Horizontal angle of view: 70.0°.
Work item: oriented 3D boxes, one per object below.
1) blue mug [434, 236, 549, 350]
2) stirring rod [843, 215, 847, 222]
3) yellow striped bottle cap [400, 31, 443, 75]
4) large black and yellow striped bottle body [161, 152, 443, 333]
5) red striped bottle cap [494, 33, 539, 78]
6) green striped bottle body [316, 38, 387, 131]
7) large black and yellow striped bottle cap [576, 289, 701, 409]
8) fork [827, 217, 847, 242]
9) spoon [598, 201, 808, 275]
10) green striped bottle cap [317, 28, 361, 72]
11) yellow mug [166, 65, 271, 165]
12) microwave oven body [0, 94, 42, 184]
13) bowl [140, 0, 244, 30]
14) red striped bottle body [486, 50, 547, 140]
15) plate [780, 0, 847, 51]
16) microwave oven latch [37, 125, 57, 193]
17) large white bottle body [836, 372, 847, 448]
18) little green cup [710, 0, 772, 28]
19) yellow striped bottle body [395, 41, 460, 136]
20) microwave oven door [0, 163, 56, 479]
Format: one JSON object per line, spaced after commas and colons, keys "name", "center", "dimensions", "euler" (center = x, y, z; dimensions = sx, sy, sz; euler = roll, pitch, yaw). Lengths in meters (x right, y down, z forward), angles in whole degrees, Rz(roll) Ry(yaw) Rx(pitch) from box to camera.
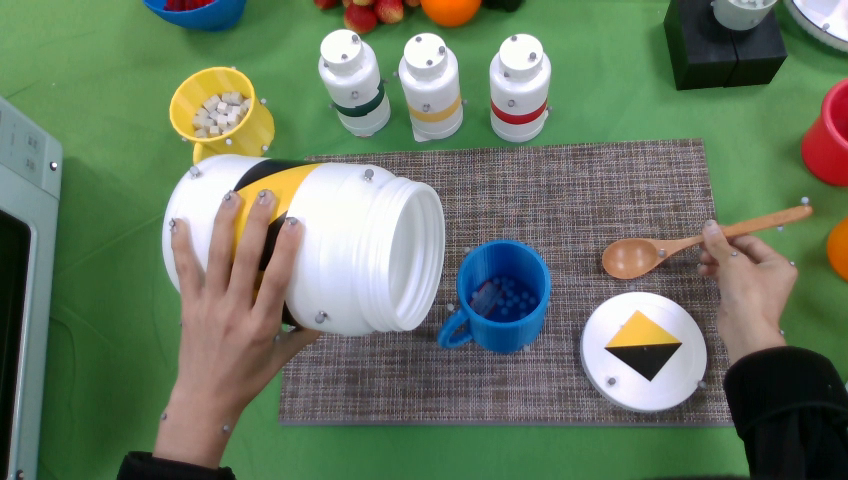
{"name": "blue mug", "center": [0.059, 0.062, 0.570], "dimensions": [0.116, 0.106, 0.081], "euler": [-34, 68, -7]}
{"name": "stirring rod", "center": [0.423, 0.014, 0.534], "dimensions": [0.014, 0.006, 0.175], "euler": [1, 26, 4]}
{"name": "yellow striped bottle cap", "center": [-0.003, -0.189, 0.613], "dimensions": [0.044, 0.019, 0.044], "euler": [-1, 66, 2]}
{"name": "large black and yellow striped bottle body", "center": [-0.089, 0.001, 0.471], "dimensions": [0.183, 0.132, 0.130], "euler": [7, 70, 21]}
{"name": "red striped bottle cap", "center": [0.092, -0.183, 0.599], "dimensions": [0.044, 0.018, 0.044], "euler": [-1, 67, 2]}
{"name": "green striped bottle body", "center": [-0.081, -0.178, 0.674], "dimensions": [0.063, 0.120, 0.062], "euler": [-2, 69, 6]}
{"name": "large black and yellow striped bottle cap", "center": [0.206, 0.104, 0.585], "dimensions": [0.115, 0.019, 0.114], "euler": [-2, 68, 5]}
{"name": "fork", "center": [0.452, 0.015, 0.522], "dimensions": [0.028, 0.019, 0.205], "euler": [-29, 24, -12]}
{"name": "spoon", "center": [0.268, -0.004, 0.591], "dimensions": [0.193, 0.022, 0.041], "euler": [-17, 75, 22]}
{"name": "green striped bottle cap", "center": [-0.088, -0.197, 0.626], "dimensions": [0.044, 0.020, 0.044], "euler": [-2, 68, 5]}
{"name": "yellow mug", "center": [-0.241, -0.130, 0.704], "dimensions": [0.100, 0.064, 0.130], "euler": [8, 71, 10]}
{"name": "microwave oven body", "center": [-0.582, 0.060, 0.563], "dimensions": [0.326, 0.262, 0.438], "euler": [-10, 69, 2]}
{"name": "bowl", "center": [-0.285, -0.326, 0.777], "dimensions": [0.151, 0.077, 0.150], "euler": [-2, 69, 6]}
{"name": "red striped bottle body", "center": [0.098, -0.164, 0.649], "dimensions": [0.063, 0.120, 0.062], "euler": [-2, 68, 6]}
{"name": "plate", "center": [0.508, -0.294, 0.694], "dimensions": [0.209, 0.038, 0.207], "euler": [-2, 70, 6]}
{"name": "microwave oven latch", "center": [-0.452, -0.093, 0.710], "dimensions": [0.030, 0.030, 0.078], "euler": [-10, 69, 2]}
{"name": "large white bottle body", "center": [0.426, 0.132, 0.462], "dimensions": [0.130, 0.186, 0.129], "euler": [-2, 68, 6]}
{"name": "little green cup", "center": [0.338, -0.259, 0.646], "dimensions": [0.061, 0.039, 0.061], "euler": [-2, 67, 5]}
{"name": "yellow striped bottle body", "center": [0.005, -0.170, 0.661], "dimensions": [0.063, 0.121, 0.062], "euler": [-2, 68, 6]}
{"name": "microwave oven door", "center": [-0.433, 0.071, 0.536], "dimensions": [0.039, 0.245, 0.353], "euler": [-11, 68, 3]}
